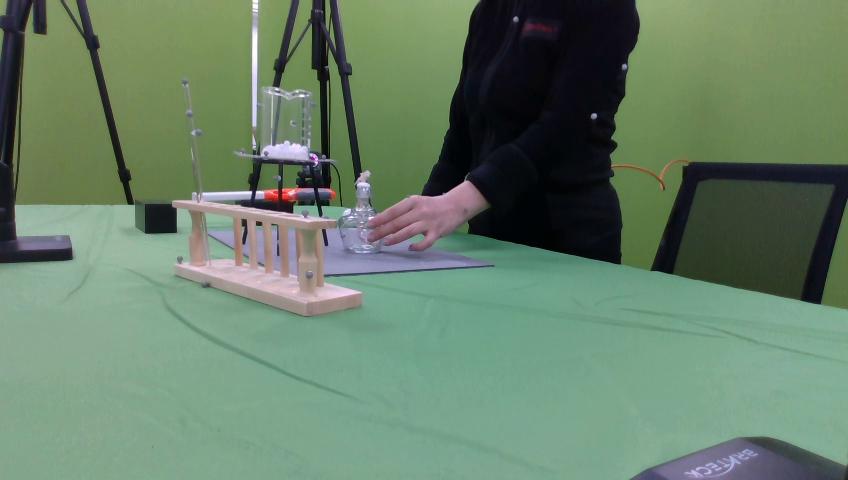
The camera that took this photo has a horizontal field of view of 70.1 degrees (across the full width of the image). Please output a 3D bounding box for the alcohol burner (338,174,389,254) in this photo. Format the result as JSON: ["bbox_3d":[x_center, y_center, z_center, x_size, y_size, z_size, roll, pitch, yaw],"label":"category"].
[{"bbox_3d":[-0.091,-0.040,0.908,0.078,0.119,0.078,1,6,0],"label":"alcohol burner"}]

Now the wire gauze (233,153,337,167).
[{"bbox_3d":[-0.205,-0.119,0.887,0.122,0.011,0.124,2,4,-32],"label":"wire gauze"}]

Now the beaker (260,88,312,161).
[{"bbox_3d":[-0.200,-0.166,0.876,0.074,0.100,0.083,1,7,-18],"label":"beaker"}]

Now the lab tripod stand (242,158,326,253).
[{"bbox_3d":[-0.207,-0.054,0.895,0.148,0.131,0.148,3,5,0],"label":"lab tripod stand"}]

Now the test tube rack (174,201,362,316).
[{"bbox_3d":[-0.169,0.009,0.622,0.241,0.085,0.067,9,9,41],"label":"test tube rack"}]

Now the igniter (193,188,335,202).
[{"bbox_3d":[-0.312,-0.089,1.209,0.278,0.025,0.057,-5,13,-31],"label":"igniter"}]

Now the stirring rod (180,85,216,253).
[{"bbox_3d":[-0.237,-0.073,0.634,0.006,0.176,0.014,0,10,42],"label":"stirring rod"}]

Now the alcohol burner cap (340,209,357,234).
[{"bbox_3d":[-0.142,-0.035,1.136,0.034,0.048,0.034,3,7,0],"label":"alcohol burner cap"}]
